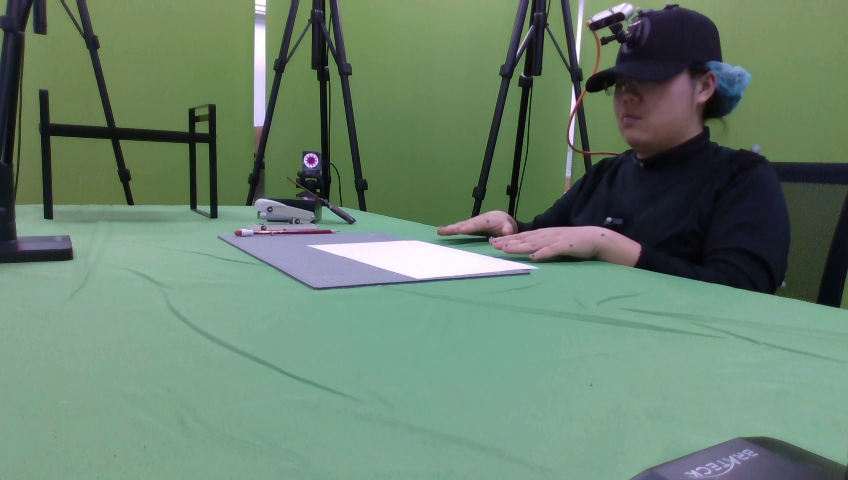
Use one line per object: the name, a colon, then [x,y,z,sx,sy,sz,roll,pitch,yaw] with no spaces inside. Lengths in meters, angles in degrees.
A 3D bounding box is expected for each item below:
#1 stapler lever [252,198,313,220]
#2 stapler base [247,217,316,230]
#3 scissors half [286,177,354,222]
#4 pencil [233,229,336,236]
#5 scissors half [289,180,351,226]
stapler lever: [-0.273,-0.059,1.170,0.119,0.040,0.026,0,10,-37]
stapler base: [-0.276,-0.033,1.172,0.131,0.024,0.041,0,10,-37]
scissors half: [-0.229,-0.091,1.337,0.175,0.013,0.040,32,16,-13]
pencil: [-0.240,-0.014,1.066,0.195,0.012,0.012,-1,8,-37]
scissors half: [-0.233,-0.085,1.318,0.175,0.013,0.040,38,21,4]
